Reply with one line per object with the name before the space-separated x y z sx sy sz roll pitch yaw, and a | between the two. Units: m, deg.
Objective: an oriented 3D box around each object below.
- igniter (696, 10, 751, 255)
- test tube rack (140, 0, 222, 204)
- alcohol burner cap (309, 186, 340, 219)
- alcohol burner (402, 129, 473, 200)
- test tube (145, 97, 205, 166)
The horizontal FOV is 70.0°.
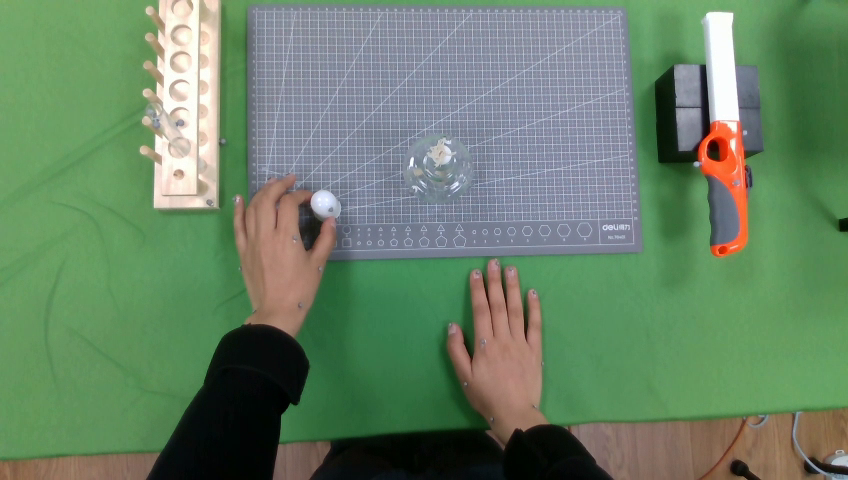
igniter | 0.328 -0.120 0.668 0.057 0.025 0.275 1 83 -1
test tube rack | -0.261 -0.164 0.644 0.067 0.085 0.241 -1 84 -4
alcohol burner cap | -0.110 -0.044 0.662 0.034 0.048 0.034 1 82 -5
alcohol burner | 0.015 -0.083 0.641 0.078 0.119 0.077 0 85 -3
test tube | -0.238 -0.101 0.590 0.017 0.150 0.017 1 79 -6
